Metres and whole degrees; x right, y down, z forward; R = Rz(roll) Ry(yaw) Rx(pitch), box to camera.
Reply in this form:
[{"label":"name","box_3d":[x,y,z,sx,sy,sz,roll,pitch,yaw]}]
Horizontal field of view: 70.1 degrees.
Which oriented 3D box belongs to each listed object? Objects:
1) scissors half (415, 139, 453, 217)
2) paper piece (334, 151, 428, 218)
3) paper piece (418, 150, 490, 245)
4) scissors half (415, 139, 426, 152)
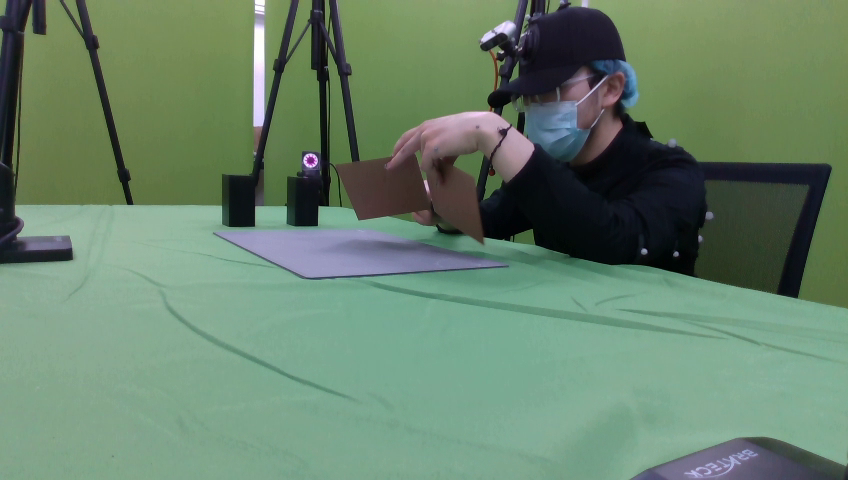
[{"label":"scissors half","box_3d":[0.014,-0.101,1.016,0.012,0.176,0.040,21,58,38]},{"label":"paper piece","box_3d":[-0.066,-0.091,1.012,0.135,0.136,0.004,-9,50,9]},{"label":"paper piece","box_3d":[0.047,-0.068,0.948,0.137,0.136,0.009,26,53,38]},{"label":"scissors half","box_3d":[0.025,-0.116,1.023,0.013,0.040,0.176,15,-20,35]}]
